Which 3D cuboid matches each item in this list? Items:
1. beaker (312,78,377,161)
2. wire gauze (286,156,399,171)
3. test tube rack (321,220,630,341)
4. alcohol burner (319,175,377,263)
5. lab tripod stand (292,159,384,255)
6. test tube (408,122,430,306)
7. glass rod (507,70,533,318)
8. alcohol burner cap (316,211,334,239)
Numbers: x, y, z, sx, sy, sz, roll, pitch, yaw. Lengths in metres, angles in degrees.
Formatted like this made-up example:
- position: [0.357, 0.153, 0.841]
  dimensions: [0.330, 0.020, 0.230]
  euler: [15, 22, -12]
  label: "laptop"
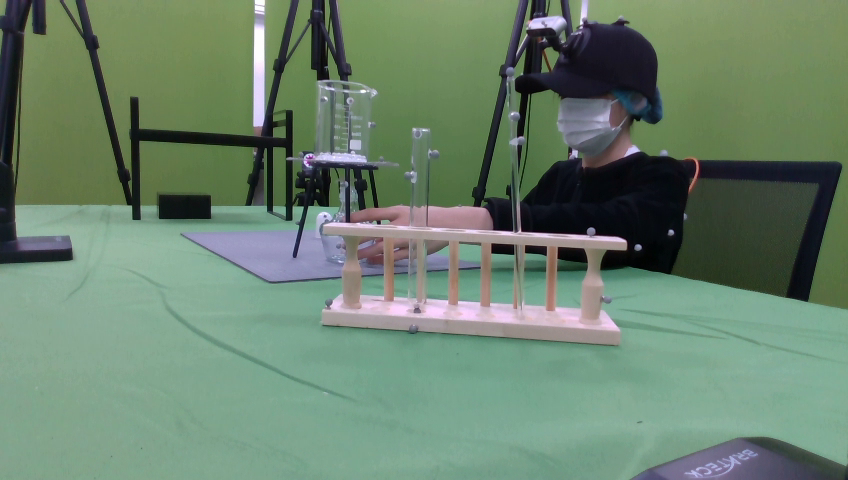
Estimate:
- position: [-0.103, -0.151, 0.776]
  dimensions: [0.084, 0.100, 0.074]
  euler: [5, 7, 14]
  label: "beaker"
- position: [-0.101, -0.103, 0.788]
  dimensions: [0.121, 0.011, 0.125]
  euler: [5, 4, 6]
  label: "wire gauze"
- position: [0.041, 0.029, 0.512]
  dimensions: [0.242, 0.085, 0.067]
  euler: [3, 7, 5]
  label: "test tube rack"
- position: [-0.101, -0.030, 0.807]
  dimensions: [0.078, 0.119, 0.078]
  euler: [0, 7, 0]
  label: "alcohol burner"
- position: [-0.105, -0.039, 0.797]
  dimensions: [0.148, 0.131, 0.148]
  euler: [2, 5, 0]
  label: "lab tripod stand"
- position: [-0.004, -0.019, 0.489]
  dimensions: [0.017, 0.150, 0.017]
  euler: [1, 11, 0]
  label: "test tube"
- position: [0.076, -0.031, 0.476]
  dimensions: [0.008, 0.199, 0.008]
  euler: [-6, 12, 2]
  label: "glass rod"
- position: [-0.171, -0.027, 1.048]
  dimensions: [0.034, 0.048, 0.034]
  euler: [2, 8, 0]
  label: "alcohol burner cap"
